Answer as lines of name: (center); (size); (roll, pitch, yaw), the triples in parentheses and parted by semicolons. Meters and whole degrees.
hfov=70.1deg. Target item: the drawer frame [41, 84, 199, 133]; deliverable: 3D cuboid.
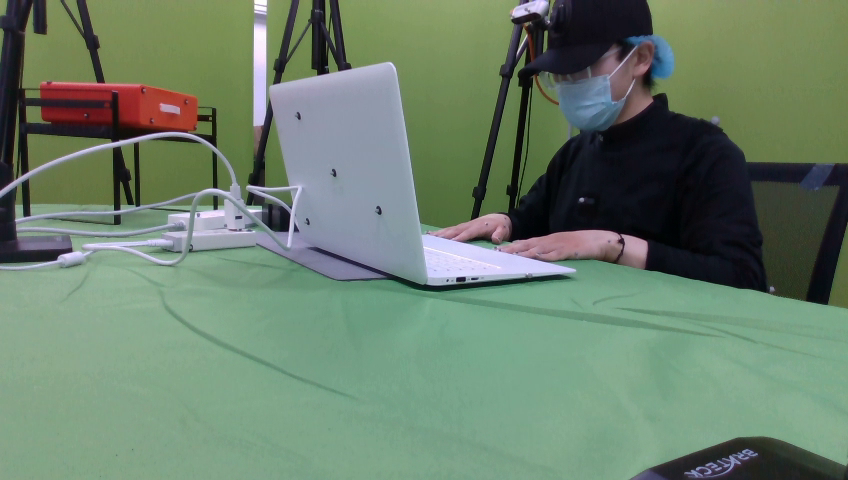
drawer frame: (-0.604, -0.264, 1.225); (0.213, 0.082, 0.202); (3, 8, 8)

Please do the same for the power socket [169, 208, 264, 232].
power socket: (-0.381, -0.038, 1.128); (0.072, 0.032, 0.227); (4, 8, 17)

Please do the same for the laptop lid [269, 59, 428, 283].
laptop lid: (-0.110, -0.087, 0.752); (0.013, 0.241, 0.355); (-18, 19, -30)

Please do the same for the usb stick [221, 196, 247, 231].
usb stick: (-0.290, -0.035, 0.920); (0.027, 0.059, 0.021); (14, 4, 32)

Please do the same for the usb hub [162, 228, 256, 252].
usb hub: (-0.315, 0.000, 0.894); (0.049, 0.025, 0.126); (9, 10, 41)

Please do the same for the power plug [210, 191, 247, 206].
power plug: (-0.386, -0.071, 1.203); (0.072, 0.052, 0.035); (8, 10, 25)

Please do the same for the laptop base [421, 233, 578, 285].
laptop base: (0.007, 0.022, 0.850); (0.237, 0.023, 0.352); (1, 7, -34)

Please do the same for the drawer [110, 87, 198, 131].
drawer: (-0.602, -0.263, 1.225); (0.211, 0.073, 0.195); (3, 8, 10)

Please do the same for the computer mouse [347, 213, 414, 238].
computer mouse: (-0.079, -0.025, 1.080); (0.117, 0.041, 0.062); (-5, 11, -18)
